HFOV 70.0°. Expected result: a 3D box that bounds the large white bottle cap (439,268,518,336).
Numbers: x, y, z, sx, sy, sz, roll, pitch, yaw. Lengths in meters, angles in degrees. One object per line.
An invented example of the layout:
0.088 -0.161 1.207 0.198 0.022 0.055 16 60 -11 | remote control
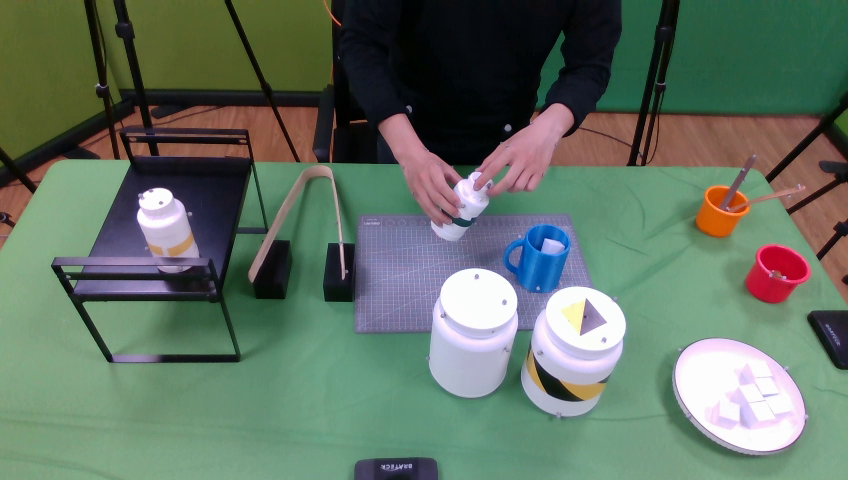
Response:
0.080 0.089 0.888 0.115 0.018 0.114 2 47 -2 | large white bottle cap

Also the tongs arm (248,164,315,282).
-0.269 -0.047 1.166 0.028 0.028 0.385 -1 34 7 | tongs arm

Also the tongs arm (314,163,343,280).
-0.188 -0.049 1.170 0.051 0.026 0.382 -6 35 -6 | tongs arm

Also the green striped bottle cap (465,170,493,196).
0.090 -0.094 0.991 0.044 0.020 0.044 18 41 -16 | green striped bottle cap

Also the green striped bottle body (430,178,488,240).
0.064 -0.059 1.027 0.063 0.119 0.063 19 43 -19 | green striped bottle body

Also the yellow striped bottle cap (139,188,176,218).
-0.363 -0.051 0.826 0.044 0.019 0.044 0 47 0 | yellow striped bottle cap

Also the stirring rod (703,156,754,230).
0.631 -0.097 1.258 0.014 0.006 0.176 33 95 29 | stirring rod

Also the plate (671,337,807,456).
0.504 0.253 0.984 0.208 0.039 0.206 2 46 -2 | plate

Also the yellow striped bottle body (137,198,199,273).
-0.366 -0.014 0.864 0.063 0.121 0.062 2 46 -2 | yellow striped bottle body

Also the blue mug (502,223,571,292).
0.202 0.031 1.121 0.116 0.106 0.082 5 46 1 | blue mug

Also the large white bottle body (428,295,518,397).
0.075 0.147 0.950 0.131 0.185 0.130 2 47 -2 | large white bottle body

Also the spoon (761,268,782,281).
0.638 0.060 1.105 0.041 0.021 0.194 38 11 24 | spoon

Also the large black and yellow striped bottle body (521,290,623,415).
0.228 0.173 0.938 0.131 0.185 0.130 2 47 -2 | large black and yellow striped bottle body

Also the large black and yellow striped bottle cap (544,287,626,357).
0.232 0.116 0.876 0.115 0.019 0.114 2 46 -1 | large black and yellow striped bottle cap

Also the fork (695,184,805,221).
0.657 -0.075 1.230 0.207 0.019 0.028 -23 34 37 | fork
